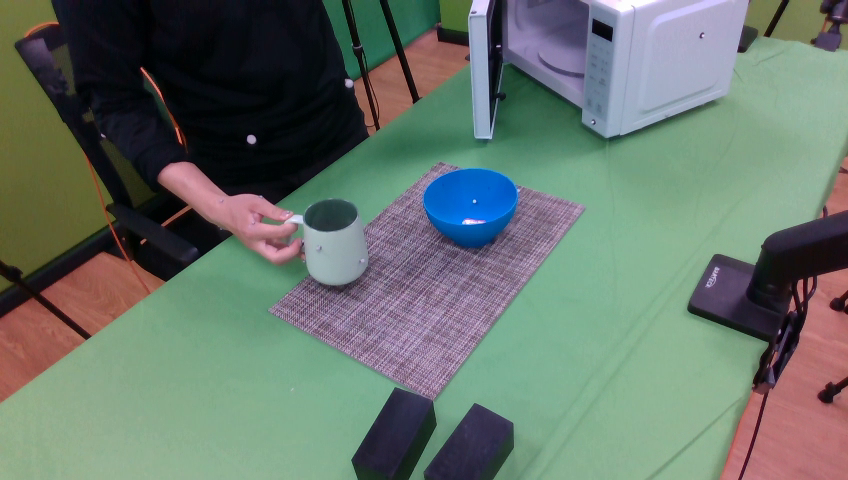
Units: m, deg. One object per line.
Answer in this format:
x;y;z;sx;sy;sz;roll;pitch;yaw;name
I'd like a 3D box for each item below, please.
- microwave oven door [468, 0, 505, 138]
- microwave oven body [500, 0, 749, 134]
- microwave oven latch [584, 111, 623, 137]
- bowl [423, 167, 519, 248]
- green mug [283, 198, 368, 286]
0.132;-0.404;1.225;0.039;0.245;0.354;1;41;11;microwave oven door
0.382;-0.445;1.246;0.327;0.261;0.437;-22;42;-16;microwave oven body
0.337;-0.222;1.142;0.030;0.029;0.078;-21;42;-14;microwave oven latch
0.075;-0.041;0.959;0.151;0.077;0.150;-4;40;4;bowl
-0.145;0.001;0.875;0.125;0.105;0.092;10;43;12;green mug
